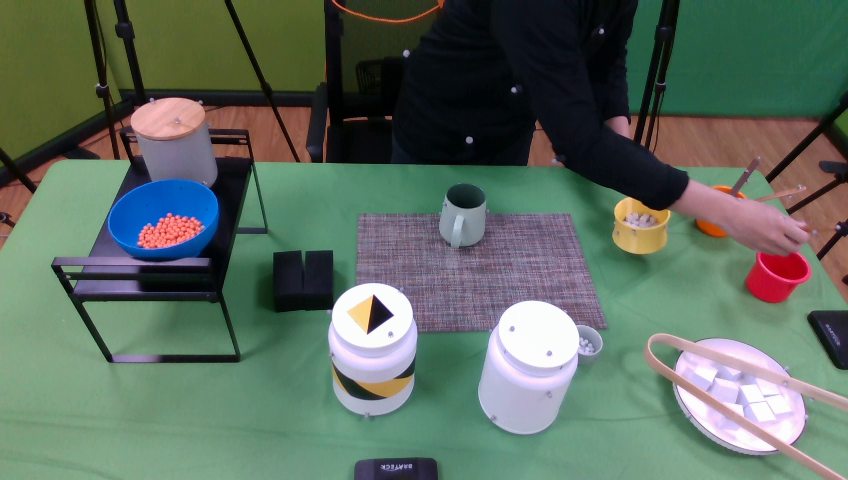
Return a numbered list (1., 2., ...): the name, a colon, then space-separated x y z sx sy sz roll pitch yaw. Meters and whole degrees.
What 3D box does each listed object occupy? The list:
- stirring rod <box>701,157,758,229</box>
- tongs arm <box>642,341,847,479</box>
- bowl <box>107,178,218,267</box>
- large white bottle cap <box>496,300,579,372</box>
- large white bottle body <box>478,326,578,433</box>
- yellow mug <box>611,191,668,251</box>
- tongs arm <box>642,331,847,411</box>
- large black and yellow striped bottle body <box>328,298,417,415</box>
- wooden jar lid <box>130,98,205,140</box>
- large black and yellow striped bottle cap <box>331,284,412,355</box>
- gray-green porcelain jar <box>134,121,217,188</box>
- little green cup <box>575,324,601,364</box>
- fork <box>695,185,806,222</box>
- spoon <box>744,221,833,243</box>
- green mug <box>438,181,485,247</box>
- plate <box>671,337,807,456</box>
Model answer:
1. stirring rod: 0.634 -0.097 1.257 0.014 0.006 0.176 38 97 29
2. tongs arm: 0.504 0.278 0.918 0.386 0.028 0.028 34 59 22
3. bowl: -0.374 -0.014 0.893 0.151 0.077 0.150 2 46 -2
4. large white bottle cap: 0.159 0.133 0.852 0.115 0.018 0.114 3 46 -3
5. large white bottle body: 0.156 0.192 0.913 0.131 0.185 0.130 2 46 -2
6. yellow mug: 0.420 -0.046 1.175 0.099 0.064 0.130 10 46 23
7. tongs arm: 0.546 0.227 0.968 0.384 0.026 0.050 22 52 13
8. large black and yellow striped bottle body: -0.078 0.167 0.920 0.131 0.185 0.130 2 46 -2
9. wooden jar lid: -0.393 -0.183 0.934 0.108 0.021 0.107 3 44 -2
10. large black and yellow striped bottle cap: -0.073 0.110 0.858 0.115 0.019 0.114 2 46 -2
11. gray-green porcelain jar: -0.397 -0.141 0.980 0.106 0.127 0.105 2 47 -2
12. little green cup: 0.269 0.179 1.036 0.061 0.039 0.061 3 46 -3
13. fork: 0.657 -0.074 1.229 0.207 0.019 0.028 -23 36 37
14. spoon: 0.608 -0.015 1.018 0.041 0.194 0.021 10 79 -5
15. green mug: 0.071 -0.039 1.177 0.092 0.105 0.124 12 47 7
16. plate: 0.503 0.254 0.984 0.208 0.039 0.206 2 46 -2
